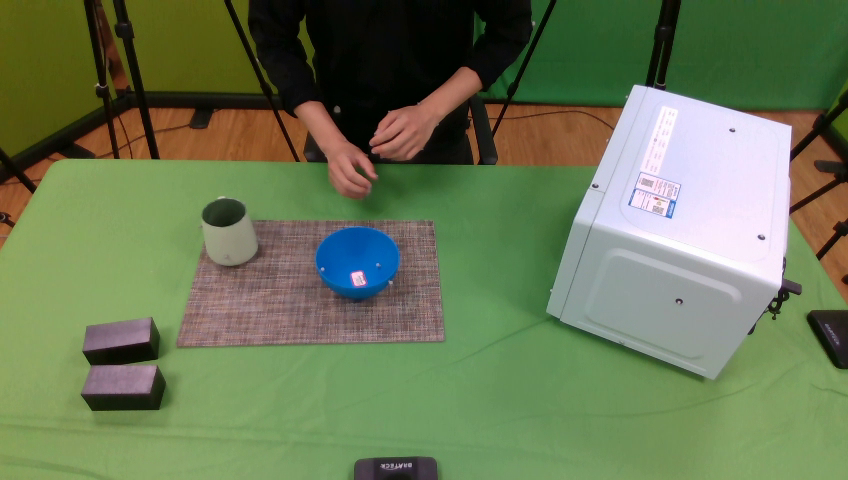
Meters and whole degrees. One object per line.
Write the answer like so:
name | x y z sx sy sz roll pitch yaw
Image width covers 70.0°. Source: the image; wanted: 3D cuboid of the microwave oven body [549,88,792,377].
microwave oven body | 0.456 -0.028 1.088 0.325 0.261 0.440 20 47 16

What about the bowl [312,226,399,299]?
bowl | -0.120 0.054 1.091 0.151 0.077 0.150 2 46 -2

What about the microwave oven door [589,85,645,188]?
microwave oven door | 0.342 -0.107 1.149 0.039 0.245 0.354 21 48 15

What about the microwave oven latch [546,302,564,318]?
microwave oven latch | 0.242 0.102 1.081 0.030 0.029 0.079 22 48 17

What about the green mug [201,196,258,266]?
green mug | -0.366 -0.025 1.130 0.092 0.105 0.124 -13 48 -16
